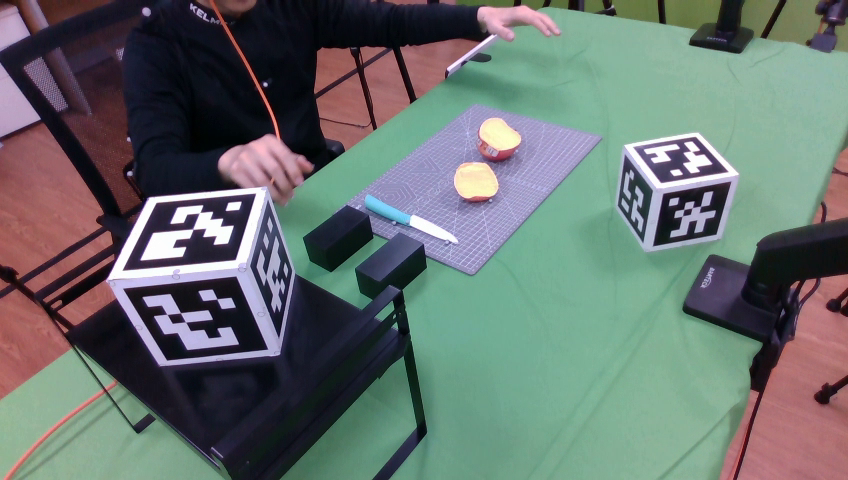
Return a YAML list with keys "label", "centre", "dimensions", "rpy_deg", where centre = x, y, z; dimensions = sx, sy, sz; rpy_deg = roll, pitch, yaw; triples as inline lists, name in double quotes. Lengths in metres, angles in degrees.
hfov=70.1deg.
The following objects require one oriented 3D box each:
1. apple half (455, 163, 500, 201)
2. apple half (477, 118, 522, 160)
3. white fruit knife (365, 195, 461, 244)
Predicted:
- label: "apple half"
  centre: [0.090, -0.096, 1.053]
  dimensions: [0.081, 0.033, 0.081]
  rpy_deg: [3, 58, -4]
- label: "apple half"
  centre: [0.136, -0.181, 1.132]
  dimensions: [0.080, 0.053, 0.075]
  rpy_deg: [40, 54, 13]
- label: "white fruit knife"
  centre: [-0.023, -0.033, 1.012]
  dimensions: [0.206, 0.016, 0.027]
  rpy_deg: [24, 62, 30]
